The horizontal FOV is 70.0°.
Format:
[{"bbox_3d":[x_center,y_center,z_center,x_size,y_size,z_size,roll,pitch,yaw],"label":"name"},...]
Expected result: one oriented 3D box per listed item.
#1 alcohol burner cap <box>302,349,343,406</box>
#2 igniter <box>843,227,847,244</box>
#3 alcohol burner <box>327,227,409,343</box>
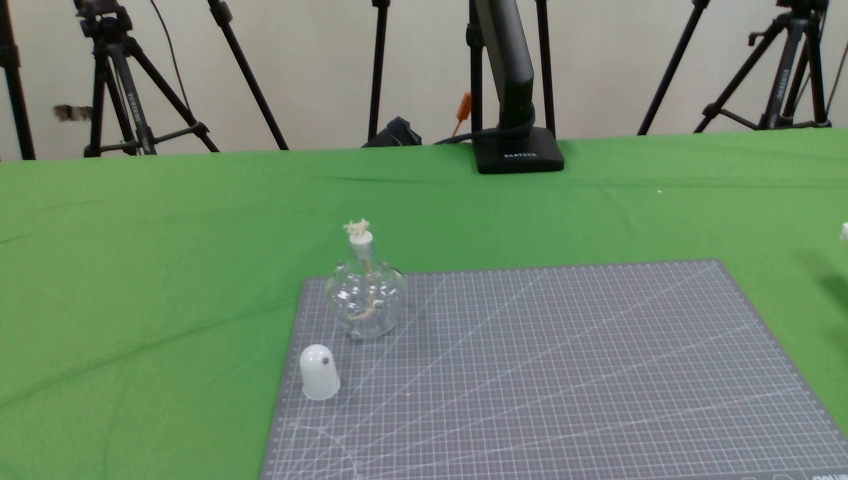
[{"bbox_3d":[-0.087,0.113,0.513,0.034,0.048,0.033,-1,35,1],"label":"alcohol burner cap"},{"bbox_3d":[0.450,0.059,0.497,0.057,0.025,0.274,-4,30,-3],"label":"igniter"},{"bbox_3d":[-0.053,0.037,0.560,0.078,0.120,0.077,0,36,0],"label":"alcohol burner"}]
